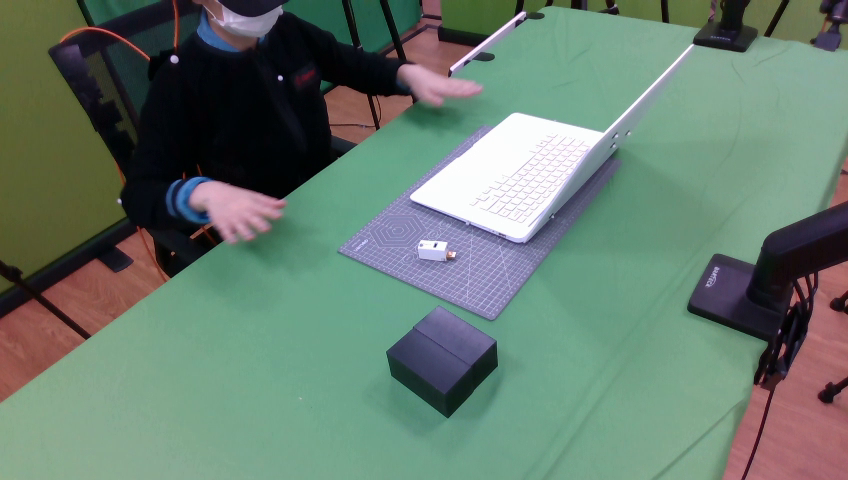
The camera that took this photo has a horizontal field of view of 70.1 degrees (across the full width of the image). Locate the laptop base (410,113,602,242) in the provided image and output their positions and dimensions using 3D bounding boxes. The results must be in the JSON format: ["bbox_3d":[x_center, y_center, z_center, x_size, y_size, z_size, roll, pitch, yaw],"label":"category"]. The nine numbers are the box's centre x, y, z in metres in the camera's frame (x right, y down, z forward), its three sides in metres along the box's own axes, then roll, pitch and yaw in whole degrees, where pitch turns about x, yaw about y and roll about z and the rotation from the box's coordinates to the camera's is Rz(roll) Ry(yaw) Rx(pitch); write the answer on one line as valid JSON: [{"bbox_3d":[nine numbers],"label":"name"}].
[{"bbox_3d":[0.171,-0.127,1.096,0.233,0.023,0.355,21,47,34],"label":"laptop base"}]

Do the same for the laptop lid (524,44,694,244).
[{"bbox_3d":[0.290,-0.151,0.941,0.013,0.241,0.358,40,54,12],"label":"laptop lid"}]

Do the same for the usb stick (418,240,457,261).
[{"bbox_3d":[0.021,0.017,0.938,0.059,0.027,0.021,8,42,13],"label":"usb stick"}]
